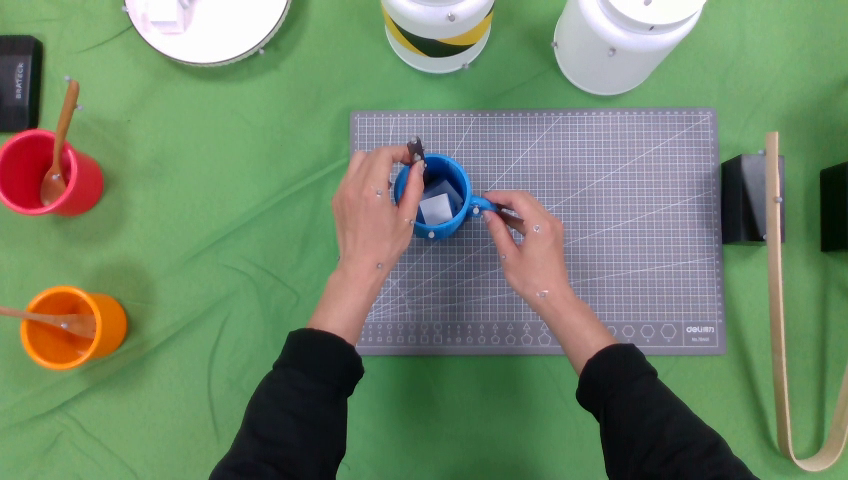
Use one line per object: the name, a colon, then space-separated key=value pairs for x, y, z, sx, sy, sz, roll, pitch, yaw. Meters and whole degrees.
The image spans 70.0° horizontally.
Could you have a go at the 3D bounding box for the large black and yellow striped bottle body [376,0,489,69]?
large black and yellow striped bottle body: x=0.010 y=-0.282 z=0.667 sx=0.131 sy=0.184 sz=0.130 roll=0 pitch=85 yaw=1

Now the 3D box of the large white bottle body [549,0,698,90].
large white bottle body: x=0.216 y=-0.256 z=0.662 sx=0.130 sy=0.185 sz=0.130 roll=0 pitch=85 yaw=1

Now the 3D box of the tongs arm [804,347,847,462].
tongs arm: x=0.490 y=0.064 z=0.678 sx=0.028 sy=0.027 sz=0.388 roll=8 pitch=97 yaw=-7

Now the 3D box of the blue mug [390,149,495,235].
blue mug: x=0.023 y=-0.048 z=0.687 sx=0.116 sy=0.106 sz=0.082 roll=11 pitch=85 yaw=1

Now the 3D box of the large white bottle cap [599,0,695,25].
large white bottle cap: x=0.215 y=-0.264 z=0.578 sx=0.115 sy=0.018 sz=0.114 roll=0 pitch=85 yaw=0

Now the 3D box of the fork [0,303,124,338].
fork: x=-0.439 y=0.079 z=0.663 sx=0.209 sy=0.018 sz=0.028 roll=22 pitch=84 yaw=-41

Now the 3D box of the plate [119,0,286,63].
plate: x=-0.267 y=-0.316 z=0.746 sx=0.208 sy=0.039 sz=0.207 roll=0 pitch=86 yaw=1

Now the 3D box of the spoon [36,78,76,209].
spoon: x=-0.411 y=-0.104 z=0.679 sx=0.041 sy=0.021 sz=0.194 roll=45 pitch=131 yaw=7

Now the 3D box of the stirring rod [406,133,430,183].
stirring rod: x=-0.005 y=-0.082 z=0.632 sx=0.014 sy=0.176 sz=0.006 roll=-36 pitch=82 yaw=-1

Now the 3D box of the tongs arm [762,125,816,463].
tongs arm: x=0.408 y=0.064 z=0.677 sx=0.051 sy=0.026 sz=0.385 roll=-5 pitch=98 yaw=-2
